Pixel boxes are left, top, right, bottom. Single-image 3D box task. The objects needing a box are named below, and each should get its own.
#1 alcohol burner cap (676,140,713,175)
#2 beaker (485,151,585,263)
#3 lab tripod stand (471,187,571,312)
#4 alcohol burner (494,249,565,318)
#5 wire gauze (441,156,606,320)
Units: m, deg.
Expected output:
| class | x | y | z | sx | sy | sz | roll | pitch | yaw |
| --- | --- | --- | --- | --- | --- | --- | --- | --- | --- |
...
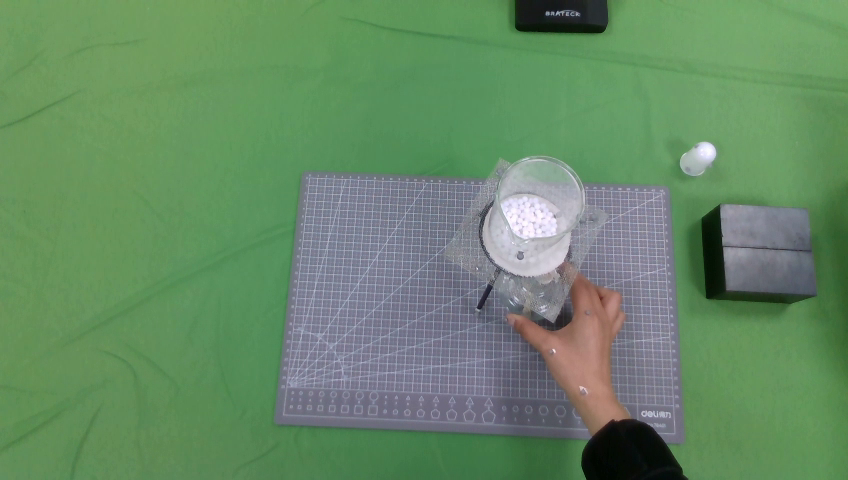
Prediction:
| class | x | y | z | sx | sy | sz | roll | pitch | yaw |
| --- | --- | --- | --- | --- | --- | --- | --- | --- | --- |
| alcohol burner cap | 0.329 | -0.101 | 0.732 | 0.034 | 0.048 | 0.033 | 0 | 74 | 2 |
| beaker | 0.093 | -0.021 | 0.541 | 0.074 | 0.101 | 0.083 | 27 | 76 | 7 |
| lab tripod stand | 0.099 | 0.006 | 0.651 | 0.148 | 0.132 | 0.147 | 0 | 73 | -1 |
| alcohol burner | 0.117 | 0.043 | 0.652 | 0.078 | 0.119 | 0.077 | 1 | 74 | -2 |
| wire gauze | 0.097 | -0.006 | 0.587 | 0.125 | 0.011 | 0.121 | 31 | 78 | 5 |
